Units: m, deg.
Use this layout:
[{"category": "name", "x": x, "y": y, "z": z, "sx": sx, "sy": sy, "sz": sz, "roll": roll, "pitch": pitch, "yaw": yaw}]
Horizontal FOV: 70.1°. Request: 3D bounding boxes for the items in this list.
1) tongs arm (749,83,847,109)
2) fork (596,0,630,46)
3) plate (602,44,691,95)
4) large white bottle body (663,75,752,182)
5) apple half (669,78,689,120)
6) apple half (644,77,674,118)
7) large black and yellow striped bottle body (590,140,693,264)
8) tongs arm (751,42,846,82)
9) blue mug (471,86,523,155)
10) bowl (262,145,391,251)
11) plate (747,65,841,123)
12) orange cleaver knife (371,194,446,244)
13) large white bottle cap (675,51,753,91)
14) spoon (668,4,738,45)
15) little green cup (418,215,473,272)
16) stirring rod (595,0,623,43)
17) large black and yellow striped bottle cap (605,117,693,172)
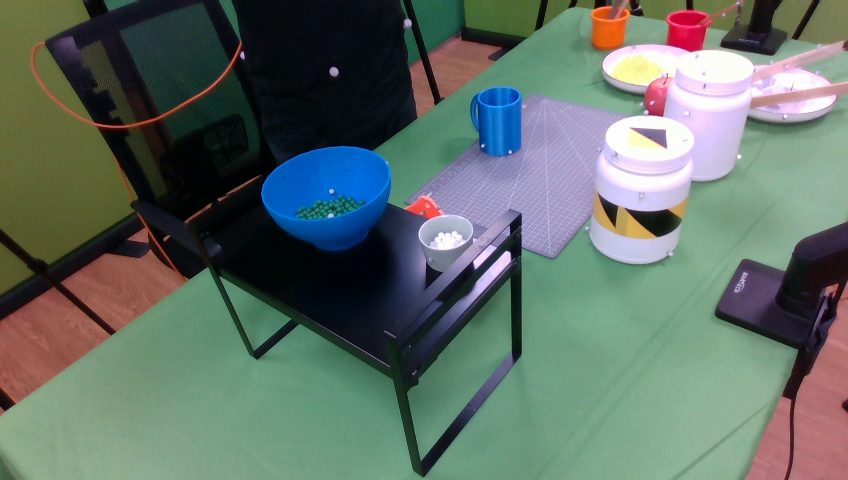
[{"category": "tongs arm", "x": 0.734, "y": -0.280, "z": 1.133, "sx": 0.388, "sy": 0.028, "sz": 0.028, "roll": -9, "pitch": 47, "yaw": -5}, {"category": "fork", "x": 0.481, "y": -0.556, "z": 1.453, "sx": 0.028, "sy": 0.019, "sz": 0.207, "roll": 40, "pitch": 103, "yaw": 40}, {"category": "plate", "x": 0.495, "y": -0.367, "z": 1.317, "sx": 0.209, "sy": 0.038, "sz": 0.208, "roll": -4, "pitch": 40, "yaw": 4}, {"category": "large white bottle body", "x": 0.472, "y": -0.207, "z": 1.022, "sx": 0.130, "sy": 0.185, "sz": 0.130, "roll": -4, "pitch": 41, "yaw": 4}, {"category": "apple half", "x": 0.498, "y": -0.273, "z": 1.180, "sx": 0.032, "sy": 0.082, "sz": 0.081, "roll": 7, "pitch": 42, "yaw": 25}, {"category": "apple half", "x": 0.463, "y": -0.279, "z": 1.194, "sx": 0.053, "sy": 0.075, "sz": 0.081, "roll": 8, "pitch": 46, "yaw": 24}, {"category": "large black and yellow striped bottle body", "x": 0.317, "y": -0.071, "z": 0.889, "sx": 0.131, "sy": 0.185, "sz": 0.130, "roll": -4, "pitch": 41, "yaw": 4}, {"category": "tongs arm", "x": 0.708, "y": -0.331, "z": 1.193, "sx": 0.386, "sy": 0.026, "sz": 0.050, "roll": -18, "pitch": 45, "yaw": -16}, {"category": "blue mug", "x": 0.135, "y": -0.235, "z": 1.163, "sx": 0.082, "sy": 0.106, "sz": 0.115, "roll": -36, "pitch": 48, "yaw": -28}, {"category": "bowl", "x": -0.108, "y": -0.041, "z": 0.723, "sx": 0.151, "sy": 0.077, "sz": 0.150, "roll": -4, "pitch": 40, "yaw": 4}, {"category": "plate", "x": 0.694, "y": -0.282, "z": 1.189, "sx": 0.207, "sy": 0.039, "sz": 0.206, "roll": -4, "pitch": 40, "yaw": 4}, {"category": "orange cleaver knife", "x": -0.032, "y": -0.026, "z": 0.964, "sx": 0.210, "sy": 0.077, "sz": 0.012, "roll": -10, "pitch": 29, "yaw": 51}, {"category": "large white bottle cap", "x": 0.463, "y": -0.271, "z": 0.967, "sx": 0.115, "sy": 0.018, "sz": 0.114, "roll": -4, "pitch": 40, "yaw": 3}, {"category": "spoon", "x": 0.618, "y": -0.478, "z": 1.346, "sx": 0.042, "sy": 0.193, "sz": 0.021, "roll": -25, "pitch": 89, "yaw": -20}, {"category": "little green cup", "x": 0.026, "y": 0.005, "z": 0.678, "sx": 0.061, "sy": 0.039, "sz": 0.061, "roll": -4, "pitch": 40, "yaw": 4}, {"category": "stirring rod", "x": 0.460, "y": -0.556, "z": 1.459, "sx": 0.014, "sy": 0.006, "sz": 0.176, "roll": 30, "pitch": 93, "yaw": 23}, {"category": "large black and yellow striped bottle cap", "x": 0.309, "y": -0.134, "z": 0.833, "sx": 0.115, "sy": 0.019, "sz": 0.114, "roll": -5, "pitch": 40, "yaw": 5}]
